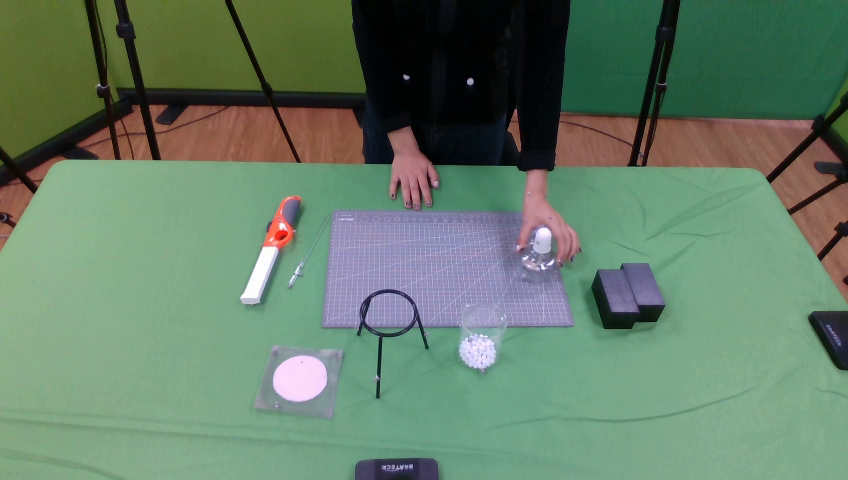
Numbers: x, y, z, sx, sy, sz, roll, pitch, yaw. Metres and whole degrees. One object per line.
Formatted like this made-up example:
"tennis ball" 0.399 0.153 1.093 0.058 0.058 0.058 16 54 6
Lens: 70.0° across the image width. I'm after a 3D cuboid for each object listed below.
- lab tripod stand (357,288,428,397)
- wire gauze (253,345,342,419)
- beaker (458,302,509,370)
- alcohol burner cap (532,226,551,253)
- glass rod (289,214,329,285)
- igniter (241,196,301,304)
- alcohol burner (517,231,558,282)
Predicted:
"lab tripod stand" -0.058 0.155 0.967 0.148 0.132 0.147 3 47 -3
"wire gauze" -0.200 0.224 0.979 0.125 0.011 0.121 7 47 0
"beaker" 0.092 0.159 0.999 0.083 0.101 0.074 35 53 28
"alcohol burner cap" 0.214 -0.004 1.099 0.034 0.048 0.033 -1 43 1
"glass rod" -0.222 0.014 1.179 0.008 0.008 0.199 12 46 8
"igniter" -0.290 0.010 1.164 0.057 0.025 0.275 0 45 10
"alcohol burner" 0.214 0.022 1.125 0.078 0.119 0.077 2 48 -3
